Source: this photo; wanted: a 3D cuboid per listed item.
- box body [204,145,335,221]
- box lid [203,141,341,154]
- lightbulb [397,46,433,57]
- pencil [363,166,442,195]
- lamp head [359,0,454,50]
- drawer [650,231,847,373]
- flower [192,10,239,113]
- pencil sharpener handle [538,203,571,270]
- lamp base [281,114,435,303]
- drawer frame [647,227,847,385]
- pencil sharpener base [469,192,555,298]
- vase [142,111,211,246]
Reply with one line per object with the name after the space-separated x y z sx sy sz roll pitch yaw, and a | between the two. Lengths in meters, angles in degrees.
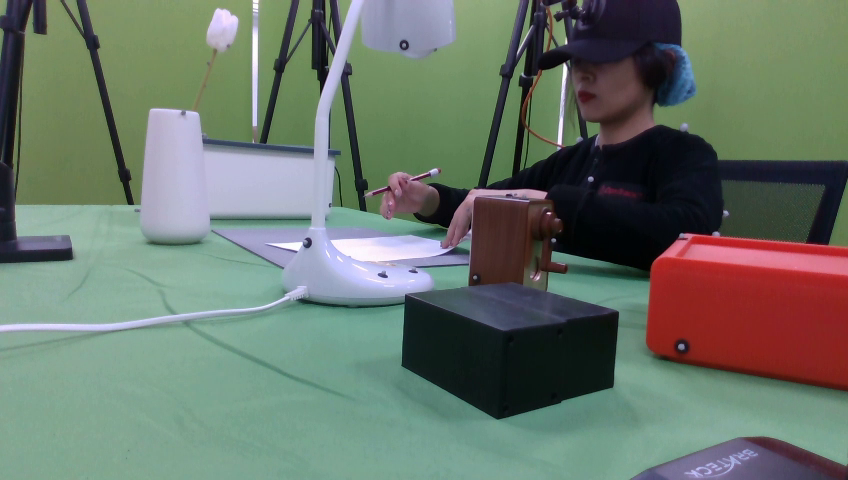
-0.411 -0.135 1.386 0.366 0.160 0.253 -2 9 -29 | box body
-0.396 -0.212 1.373 0.373 0.015 0.262 -1 9 -29 | box lid
-0.017 -0.265 0.692 0.059 0.108 0.059 -9 28 5 | lightbulb
-0.035 -0.105 1.071 0.012 0.012 0.195 9 24 43 | pencil
-0.024 -0.283 0.674 0.112 0.123 0.112 -3 38 3 | lamp head
0.303 0.044 0.499 0.194 0.073 0.212 7 9 27 | drawer
-0.354 -0.174 0.915 0.038 0.361 0.044 18 -4 11 | flower
0.137 -0.003 0.619 0.030 0.067 0.036 8 6 37 | pencil sharpener handle
-0.071 -0.035 0.614 0.160 0.180 0.180 6 10 27 | lamp base
0.303 0.043 0.495 0.201 0.082 0.214 6 9 26 | drawer frame
0.097 0.003 0.652 0.076 0.107 0.061 8 9 37 | pencil sharpener base
-0.378 -0.093 0.920 0.098 0.200 0.098 2 9 0 | vase
